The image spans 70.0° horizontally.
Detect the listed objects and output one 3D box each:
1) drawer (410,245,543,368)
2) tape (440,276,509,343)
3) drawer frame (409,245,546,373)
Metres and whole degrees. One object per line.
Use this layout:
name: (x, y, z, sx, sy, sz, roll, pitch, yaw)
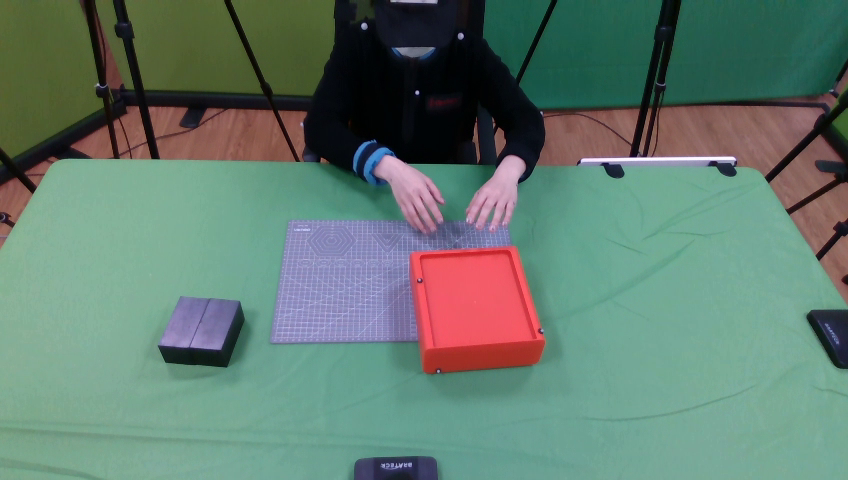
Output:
drawer: (0.083, 0.111, 1.051, 0.195, 0.073, 0.210, -3, 47, -8)
tape: (0.086, 0.120, 1.053, 0.117, 0.053, 0.116, 2, 46, -2)
drawer frame: (0.084, 0.113, 1.049, 0.202, 0.083, 0.212, -4, 47, -8)
